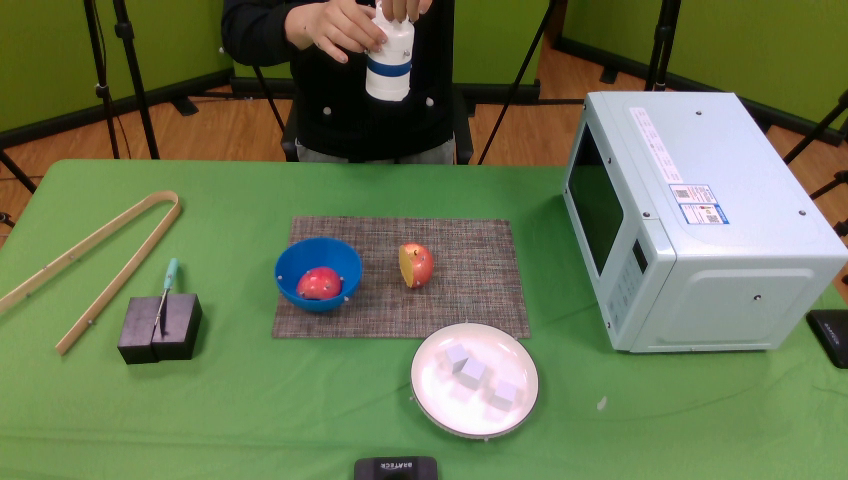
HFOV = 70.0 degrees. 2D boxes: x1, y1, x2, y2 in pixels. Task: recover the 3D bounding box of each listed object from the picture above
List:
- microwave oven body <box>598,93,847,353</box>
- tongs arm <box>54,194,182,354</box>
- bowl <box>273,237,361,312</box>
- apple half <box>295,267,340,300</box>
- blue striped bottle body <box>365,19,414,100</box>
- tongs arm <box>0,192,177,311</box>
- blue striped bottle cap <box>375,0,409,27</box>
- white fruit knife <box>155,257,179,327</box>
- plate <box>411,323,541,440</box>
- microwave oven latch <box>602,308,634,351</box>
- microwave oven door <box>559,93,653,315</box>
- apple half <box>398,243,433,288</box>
[{"bbox_3d":[0.475,-0.041,1.109,0.326,0.261,0.438,-1,45,-4],"label":"microwave oven body"},{"bbox_3d":[-0.544,0.048,1.108,0.028,0.028,0.385,11,45,10],"label":"tongs arm"},{"bbox_3d":[-0.186,0.074,1.069,0.151,0.077,0.150,3,46,-3],"label":"bowl"},{"bbox_3d":[-0.187,0.070,1.067,0.081,0.033,0.081,3,47,-3],"label":"apple half"},{"bbox_3d":[-0.048,-0.261,0.841,0.063,0.121,0.062,5,41,-4],"label":"blue striped bottle body"},{"bbox_3d":[-0.618,0.019,1.124,0.050,0.026,0.384,24,47,16],"label":"tongs arm"},{"bbox_3d":[-0.042,-0.301,0.805,0.044,0.021,0.044,6,42,-6],"label":"blue striped bottle cap"},{"bbox_3d":[-0.440,0.085,1.037,0.016,0.027,0.206,10,26,-19],"label":"white fruit knife"},{"bbox_3d":[0.082,0.228,0.976,0.208,0.039,0.206,2,45,-2],"label":"plate"},{"bbox_3d":[0.332,0.153,1.044,0.030,0.029,0.078,-1,45,-4],"label":"microwave oven latch"},{"bbox_3d":[0.327,-0.074,1.123,0.039,0.245,0.353,-1,46,-5],"label":"microwave oven door"},{"bbox_3d":[-0.012,0.046,1.115,0.053,0.075,0.080,-11,44,-19],"label":"apple half"}]
